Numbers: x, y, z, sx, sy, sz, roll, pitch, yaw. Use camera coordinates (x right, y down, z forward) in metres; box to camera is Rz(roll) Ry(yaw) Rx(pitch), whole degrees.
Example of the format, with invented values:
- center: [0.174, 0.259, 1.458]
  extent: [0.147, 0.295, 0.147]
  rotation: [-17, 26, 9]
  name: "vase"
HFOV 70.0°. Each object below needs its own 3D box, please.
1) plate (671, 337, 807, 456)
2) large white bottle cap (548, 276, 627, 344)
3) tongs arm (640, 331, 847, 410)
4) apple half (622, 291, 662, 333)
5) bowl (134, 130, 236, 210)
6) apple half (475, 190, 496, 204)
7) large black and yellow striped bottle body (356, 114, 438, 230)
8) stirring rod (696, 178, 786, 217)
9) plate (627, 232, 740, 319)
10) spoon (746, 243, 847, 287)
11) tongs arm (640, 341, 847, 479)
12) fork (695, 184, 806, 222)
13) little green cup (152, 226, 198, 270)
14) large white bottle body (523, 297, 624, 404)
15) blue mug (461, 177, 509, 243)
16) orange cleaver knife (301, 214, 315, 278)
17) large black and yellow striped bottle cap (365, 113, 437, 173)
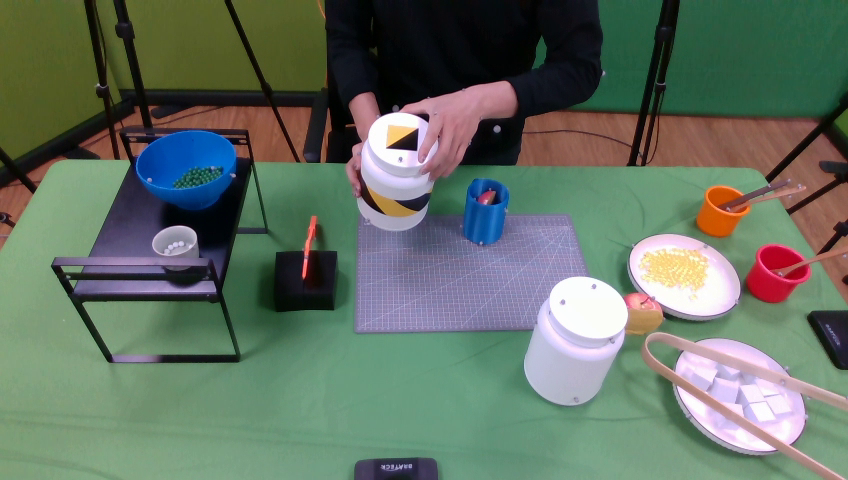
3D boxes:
- center: [0.504, 0.254, 0.984]
  extent: [0.208, 0.039, 0.206]
  rotation: [2, 46, -2]
  name: "plate"
- center: [0.240, 0.100, 0.890]
  extent: [0.115, 0.018, 0.114]
  rotation: [3, 47, -3]
  name: "large white bottle cap"
- center: [0.543, 0.226, 0.969]
  extent: [0.384, 0.026, 0.050]
  rotation: [22, 52, 13]
  name: "tongs arm"
- center: [0.372, 0.123, 1.074]
  extent: [0.081, 0.075, 0.053]
  rotation: [0, 43, 1]
  name: "apple half"
- center: [-0.375, -0.102, 0.977]
  extent: [0.151, 0.077, 0.150]
  rotation: [2, 47, -2]
  name: "bowl"
- center: [0.109, -0.067, 1.199]
  extent: [0.032, 0.081, 0.081]
  rotation: [29, 51, 12]
  name: "apple half"
- center: [-0.048, -0.115, 1.043]
  extent: [0.131, 0.184, 0.130]
  rotation: [4, 59, -7]
  name: "large black and yellow striped bottle body"
- center: [0.648, -0.087, 1.244]
  extent: [0.176, 0.006, 0.014]
  rotation: [-25, 50, 29]
  name: "stirring rod"
- center: [0.489, 0.070, 1.157]
  extent: [0.209, 0.038, 0.208]
  rotation: [3, 46, -3]
  name: "plate"
- center: [0.702, 0.043, 1.126]
  extent: [0.194, 0.022, 0.041]
  rotation: [-29, 38, 30]
  name: "spoon"
- center: [0.500, 0.277, 0.919]
  extent: [0.386, 0.028, 0.028]
  rotation: [34, 59, 22]
  name: "tongs arm"
- center: [0.658, -0.074, 1.229]
  extent: [0.207, 0.019, 0.028]
  rotation: [-23, 34, 36]
  name: "fork"
- center: [-0.364, 0.013, 0.894]
  extent: [0.061, 0.039, 0.061]
  rotation: [3, 47, -3]
  name: "little green cup"
- center: [0.235, 0.159, 0.952]
  extent: [0.131, 0.185, 0.130]
  rotation: [2, 47, -2]
  name: "large white bottle body"
- center: [0.114, -0.069, 1.211]
  extent: [0.082, 0.106, 0.115]
  rotation: [-12, 48, -15]
  name: "blue mug"
- center: [-0.217, 0.007, 1.131]
  extent: [0.012, 0.077, 0.210]
  rotation: [7, 19, -9]
  name: "orange cleaver knife"
- center: [-0.036, -0.157, 0.971]
  extent: [0.115, 0.019, 0.114]
  rotation: [5, 57, -7]
  name: "large black and yellow striped bottle cap"
